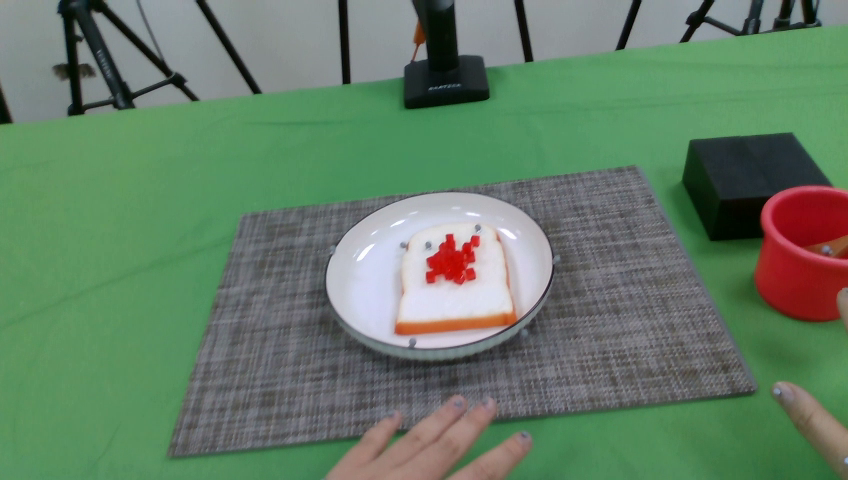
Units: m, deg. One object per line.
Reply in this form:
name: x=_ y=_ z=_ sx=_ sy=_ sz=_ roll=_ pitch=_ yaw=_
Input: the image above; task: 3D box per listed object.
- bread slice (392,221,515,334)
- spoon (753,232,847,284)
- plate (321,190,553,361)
bread slice: x=0.024 y=0.030 z=0.558 sx=0.105 sy=0.019 sz=0.130 roll=-5 pitch=42 yaw=3
spoon: x=0.352 y=-0.010 z=0.466 sx=0.022 sy=0.194 sz=0.041 roll=42 pitch=44 yaw=-13
plate: x=0.011 y=0.030 z=0.557 sx=0.209 sy=0.038 sz=0.207 roll=-5 pitch=41 yaw=5
